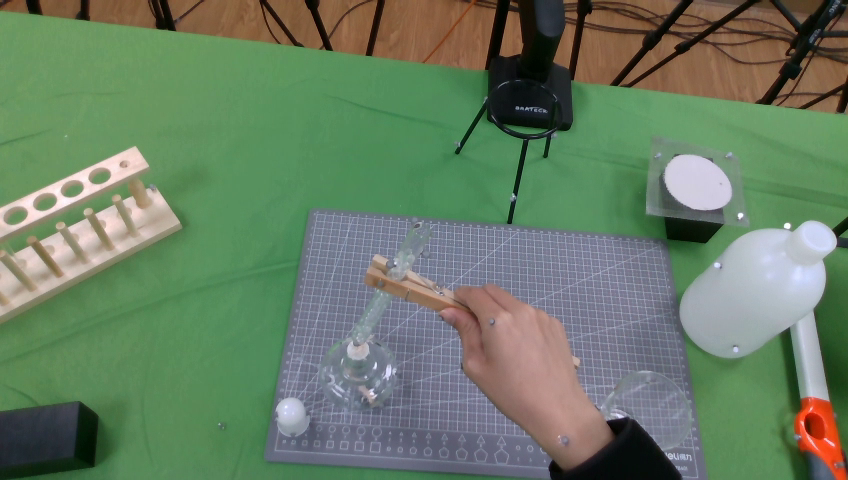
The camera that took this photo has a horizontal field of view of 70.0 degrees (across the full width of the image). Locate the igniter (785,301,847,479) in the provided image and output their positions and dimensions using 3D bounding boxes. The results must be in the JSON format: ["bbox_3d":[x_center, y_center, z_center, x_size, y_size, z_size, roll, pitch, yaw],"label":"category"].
[{"bbox_3d":[0.426,0.177,0.664,0.057,0.025,0.274,16,59,-8],"label":"igniter"}]

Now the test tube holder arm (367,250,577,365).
[{"bbox_3d":[0.037,0.053,0.473,0.178,0.015,0.013,25,45,2],"label":"test tube holder arm"}]

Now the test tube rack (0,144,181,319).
[{"bbox_3d":[-0.398,-0.003,0.648,0.242,0.086,0.066,-32,68,-22],"label":"test tube rack"}]

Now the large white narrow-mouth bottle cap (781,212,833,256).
[{"bbox_3d":[0.357,-0.006,0.566,0.038,0.024,0.037,2,60,-4],"label":"large white narrow-mouth bottle cap"}]

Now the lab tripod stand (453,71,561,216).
[{"bbox_3d":[0.109,-0.124,0.743,0.148,0.132,0.147,3,61,-6],"label":"lab tripod stand"}]

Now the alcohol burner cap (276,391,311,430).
[{"bbox_3d":[-0.131,0.167,0.600,0.034,0.048,0.033,2,61,-3],"label":"alcohol burner cap"}]

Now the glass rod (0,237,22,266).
[{"bbox_3d":[-0.431,-0.034,0.586,0.008,0.201,0.008,4,50,-5],"label":"glass rod"}]

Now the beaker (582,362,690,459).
[{"bbox_3d":[0.201,0.172,0.598,0.084,0.101,0.073,2,59,-4],"label":"beaker"}]

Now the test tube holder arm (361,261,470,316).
[{"bbox_3d":[-0.006,0.038,0.469,0.088,0.015,0.010,20,44,-3],"label":"test tube holder arm"}]

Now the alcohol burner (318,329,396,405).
[{"bbox_3d":[-0.065,0.118,0.593,0.078,0.120,0.077,4,59,-6],"label":"alcohol burner"}]

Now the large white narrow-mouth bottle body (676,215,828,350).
[{"bbox_3d":[0.350,0.039,0.639,0.102,0.196,0.101,2,59,-3],"label":"large white narrow-mouth bottle body"}]

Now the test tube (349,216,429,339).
[{"bbox_3d":[-0.032,0.035,0.482,0.017,0.151,0.017,16,44,-16],"label":"test tube"}]

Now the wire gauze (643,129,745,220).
[{"bbox_3d":[0.335,-0.081,0.757,0.121,0.011,0.124,12,59,1],"label":"wire gauze"}]
